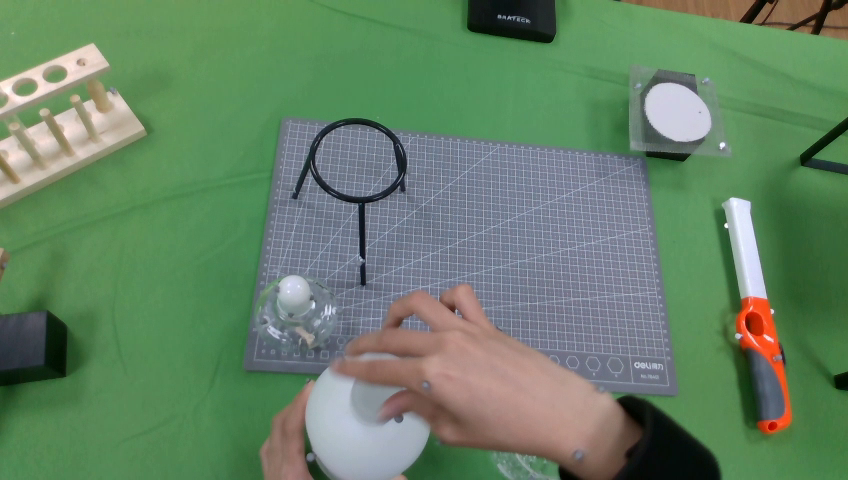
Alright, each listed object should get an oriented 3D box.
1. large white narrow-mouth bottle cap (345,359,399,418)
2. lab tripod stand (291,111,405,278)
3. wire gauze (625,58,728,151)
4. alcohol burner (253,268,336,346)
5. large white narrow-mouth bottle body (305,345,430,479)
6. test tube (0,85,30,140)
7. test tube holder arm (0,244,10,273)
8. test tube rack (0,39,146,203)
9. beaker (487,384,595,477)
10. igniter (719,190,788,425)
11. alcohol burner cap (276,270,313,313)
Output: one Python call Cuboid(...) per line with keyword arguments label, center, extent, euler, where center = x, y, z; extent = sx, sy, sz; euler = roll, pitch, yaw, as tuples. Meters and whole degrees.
Cuboid(label="large white narrow-mouth bottle cap", center=(-0.035, 0.101, 0.411), extent=(0.038, 0.024, 0.037), euler=(3, 66, -7))
Cuboid(label="lab tripod stand", center=(-0.069, -0.051, 0.609), extent=(0.149, 0.132, 0.147), euler=(4, 67, -9))
Cuboid(label="wire gauze", center=(0.304, -0.164, 0.737), extent=(0.122, 0.011, 0.124), euler=(7, 66, -6))
Cuboid(label="alcohol burner", center=(-0.120, 0.057, 0.564), extent=(0.078, 0.119, 0.077), euler=(4, 65, -9))
Cuboid(label="large white narrow-mouth bottle body", center=(-0.047, 0.141, 0.498), extent=(0.102, 0.195, 0.101), euler=(3, 65, -7))
Cuboid(label="test tube", center=(-0.407, -0.143, 0.569), extent=(0.017, 0.151, 0.017), euler=(4, 61, -8))
Cuboid(label="test tube holder arm", center=(-0.385, 0.044, 0.529), extent=(0.010, 0.015, 0.087), euler=(7, 65, -5))
Cuboid(label="test tube rack", center=(-0.417, -0.100, 0.603), extent=(0.242, 0.085, 0.066), euler=(-34, 76, -21))
Cuboid(label="beaker", center=(0.099, 0.178, 0.559), extent=(0.084, 0.101, 0.073), euler=(31, 65, 7))
Cuboid(label="igniter", center=(0.373, 0.069, 0.689), extent=(0.057, 0.025, 0.274), euler=(10, 65, -16))
Cuboid(label="alcohol burner cap", center=(-0.115, 0.044, 0.531), extent=(0.034, 0.048, 0.033), euler=(2, 72, -7))
